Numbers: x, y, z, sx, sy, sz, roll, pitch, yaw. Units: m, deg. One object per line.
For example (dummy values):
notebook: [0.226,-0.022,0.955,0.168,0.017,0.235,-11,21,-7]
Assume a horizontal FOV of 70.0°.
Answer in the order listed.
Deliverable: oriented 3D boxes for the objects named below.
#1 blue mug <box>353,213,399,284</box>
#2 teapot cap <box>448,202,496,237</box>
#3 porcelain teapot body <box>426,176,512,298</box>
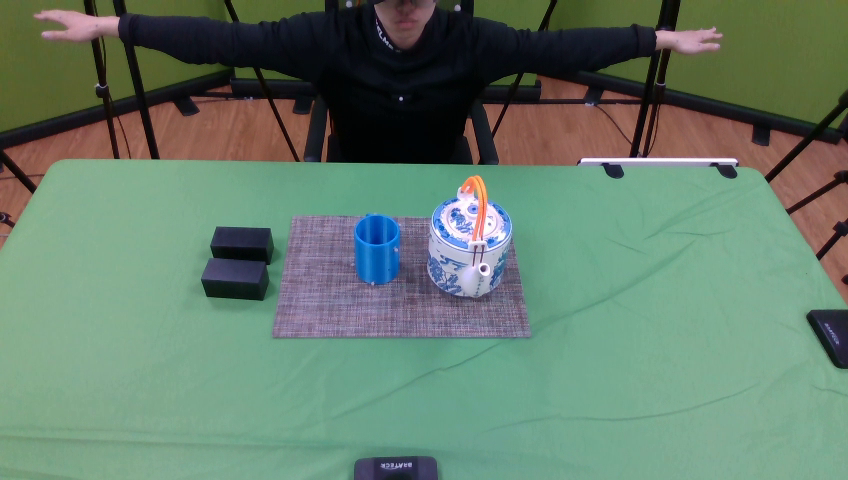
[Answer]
blue mug: [-0.093,0.006,1.123,0.082,0.106,0.115,-12,48,-15]
teapot cap: [0.083,-0.038,1.041,0.085,0.044,0.084,1,48,0]
porcelain teapot body: [0.085,0.009,1.051,0.145,0.226,0.204,-5,47,-9]
